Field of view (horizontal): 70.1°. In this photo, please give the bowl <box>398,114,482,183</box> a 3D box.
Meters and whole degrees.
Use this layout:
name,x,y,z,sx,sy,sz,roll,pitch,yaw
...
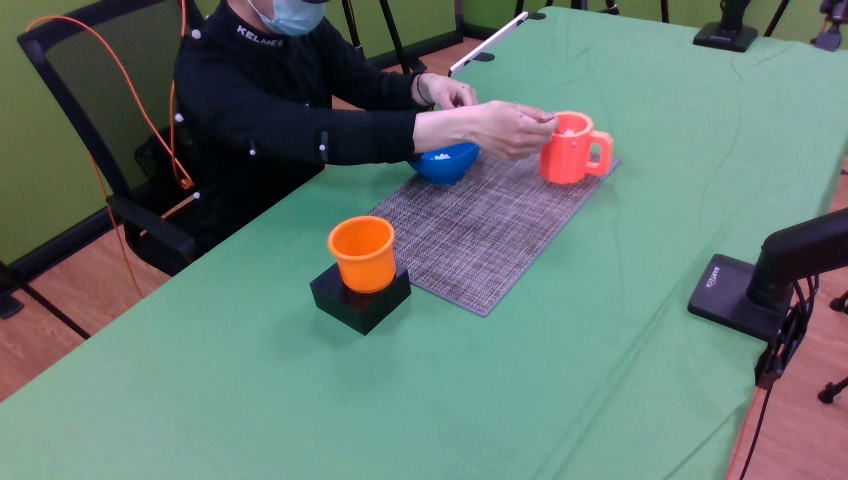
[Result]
name,x,y,z,sx,sy,sz,roll,pitch,yaw
bowl,0.032,-0.156,1.096,0.151,0.077,0.150,-4,41,4

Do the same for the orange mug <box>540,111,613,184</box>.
name,x,y,z,sx,sy,sz,roll,pitch,yaw
orange mug,0.263,-0.159,1.052,0.125,0.101,0.083,12,44,28

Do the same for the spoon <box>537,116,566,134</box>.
name,x,y,z,sx,sy,sz,roll,pitch,yaw
spoon,0.216,-0.182,0.996,0.041,0.021,0.195,6,-2,28
